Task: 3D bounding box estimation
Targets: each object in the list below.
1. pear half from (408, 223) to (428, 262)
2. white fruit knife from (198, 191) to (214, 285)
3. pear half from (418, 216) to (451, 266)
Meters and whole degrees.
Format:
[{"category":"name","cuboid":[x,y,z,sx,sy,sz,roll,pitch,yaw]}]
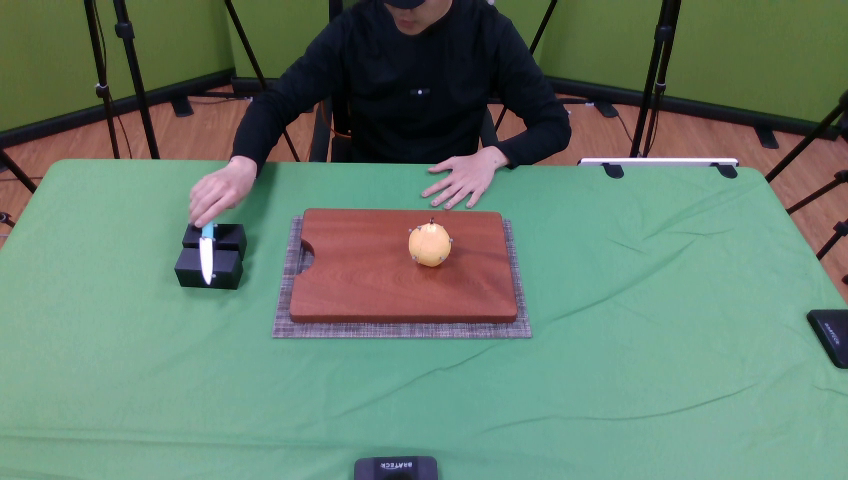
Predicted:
[{"category":"pear half","cuboid":[-0.013,-0.001,1.107,0.031,0.088,0.070,8,53,2]},{"category":"white fruit knife","cuboid":[-0.393,-0.007,1.098,0.027,0.016,0.206,-16,60,3]},{"category":"pear half","cuboid":[0.023,-0.001,1.097,0.056,0.110,0.076,9,50,3]}]
